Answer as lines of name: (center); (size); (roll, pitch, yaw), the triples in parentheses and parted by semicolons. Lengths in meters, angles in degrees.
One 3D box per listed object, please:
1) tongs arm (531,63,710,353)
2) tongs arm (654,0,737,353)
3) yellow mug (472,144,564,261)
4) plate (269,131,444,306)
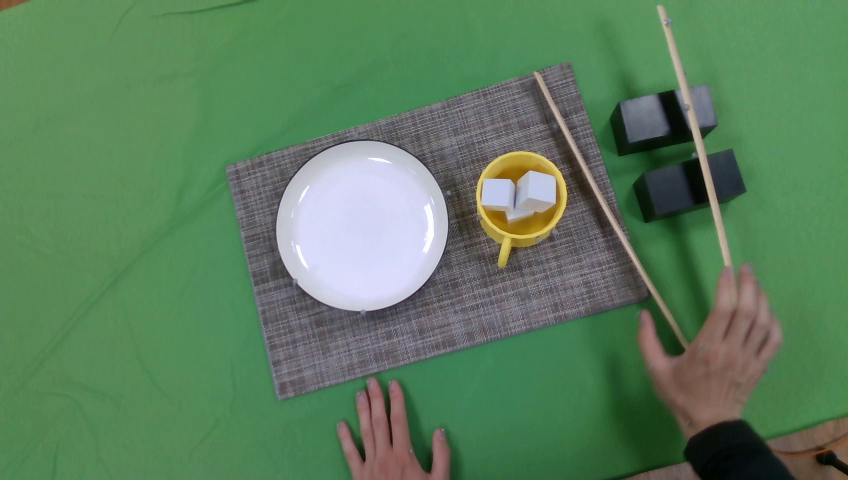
tongs arm: (0.218, -0.043, 0.700); (0.028, 0.028, 0.386); (-30, 79, 23)
tongs arm: (0.284, -0.070, 0.660); (0.050, 0.026, 0.384); (-16, 86, 28)
yellow mug: (0.101, -0.038, 0.692); (0.100, 0.064, 0.130); (16, 84, 7)
plate: (-0.078, -0.024, 0.722); (0.207, 0.039, 0.207); (-1, 82, 5)
